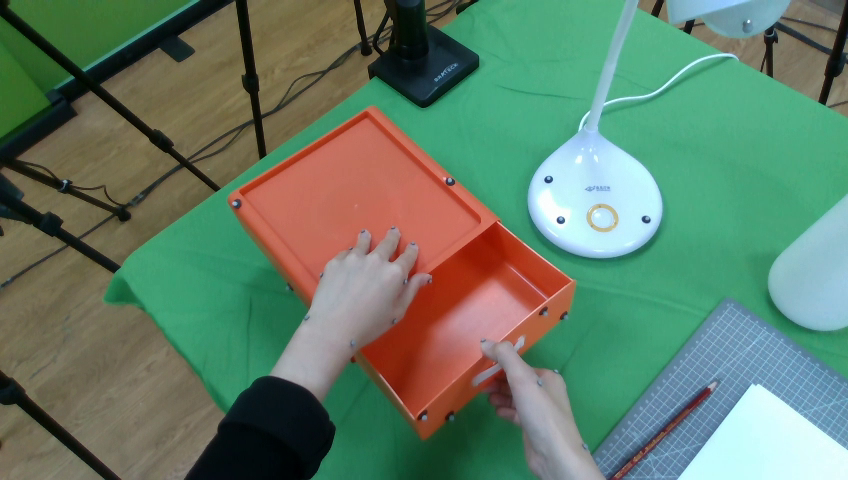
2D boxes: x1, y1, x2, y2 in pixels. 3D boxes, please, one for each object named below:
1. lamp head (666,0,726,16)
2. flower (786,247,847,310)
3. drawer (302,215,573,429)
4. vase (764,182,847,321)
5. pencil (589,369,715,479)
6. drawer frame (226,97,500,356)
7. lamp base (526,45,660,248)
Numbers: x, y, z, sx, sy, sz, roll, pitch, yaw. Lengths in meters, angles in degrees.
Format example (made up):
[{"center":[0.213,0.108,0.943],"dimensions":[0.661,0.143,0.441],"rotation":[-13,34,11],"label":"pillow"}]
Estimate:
[{"center":[0.210,-0.224,0.407],"dimensions":[0.112,0.112,0.123],"rotation":[-18,98,-7],"label":"lamp head"},{"center":[0.426,-0.048,0.521],"dimensions":[0.038,0.364,0.044],"rotation":[27,47,11],"label":"flower"},{"center":[0.004,0.042,0.602],"dimensions":[0.194,0.074,0.209],"rotation":[-38,60,-17],"label":"drawer"},{"center":[0.414,0.001,0.589],"dimensions":[0.098,0.202,0.097],"rotation":[-2,58,4],"label":"vase"},{"center":[0.226,0.187,0.599],"dimensions":[0.194,0.012,0.012],"rotation":[-34,63,-17],"label":"pencil"},{"center":[-0.064,-0.021,0.648],"dimensions":[0.201,0.083,0.212],"rotation":[-38,65,-16],"label":"drawer frame"},{"center":[0.197,-0.109,0.677],"dimensions":[0.161,0.182,0.177],"rotation":[-11,57,-3],"label":"lamp base"}]
